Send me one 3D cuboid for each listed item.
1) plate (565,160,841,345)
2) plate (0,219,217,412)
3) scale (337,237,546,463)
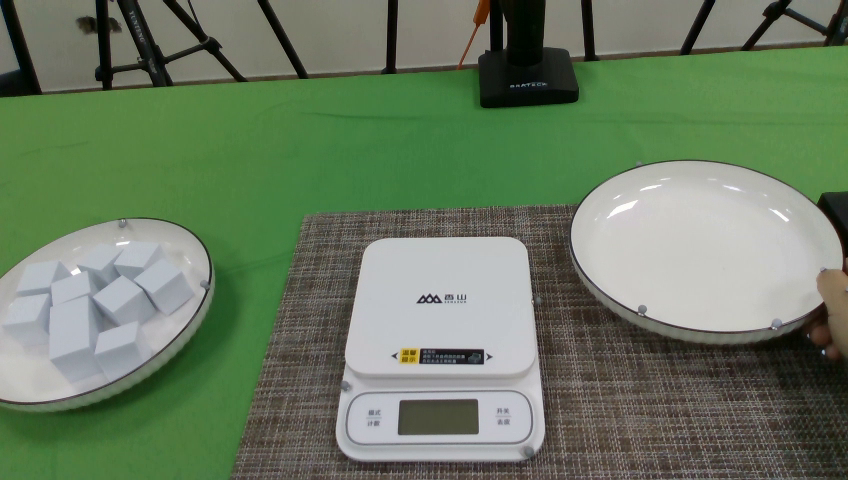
[{"bbox_3d":[0.225,0.009,0.510,0.207,0.039,0.205,-6,42,6],"label":"plate"},{"bbox_3d":[-0.283,0.063,0.531,0.209,0.038,0.207,-3,43,3],"label":"plate"},{"bbox_3d":[0.015,0.076,0.480,0.148,0.032,0.199,-2,45,6],"label":"scale"}]
